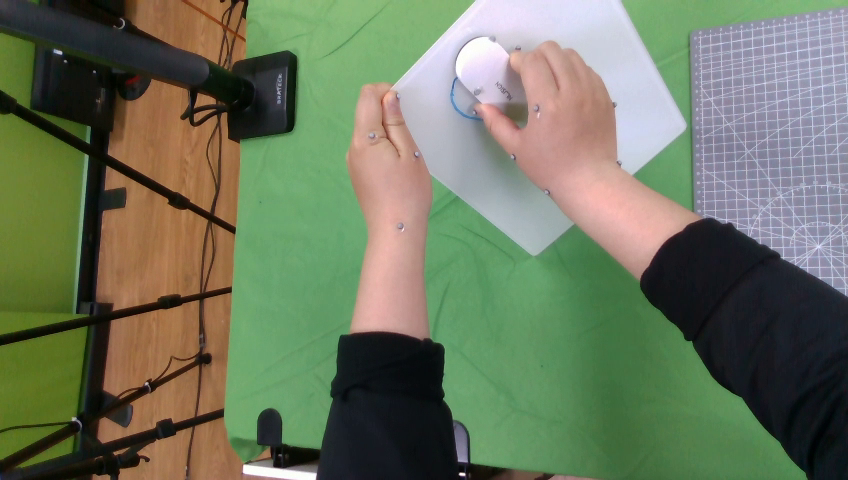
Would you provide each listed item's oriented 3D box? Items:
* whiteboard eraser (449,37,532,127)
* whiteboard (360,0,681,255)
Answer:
[{"bbox_3d":[0.057,-0.130,0.504,0.041,0.102,0.018,-44,50,12],"label":"whiteboard eraser"},{"bbox_3d":[0.087,-0.155,0.610,0.217,0.309,0.142,-42,49,14],"label":"whiteboard"}]
